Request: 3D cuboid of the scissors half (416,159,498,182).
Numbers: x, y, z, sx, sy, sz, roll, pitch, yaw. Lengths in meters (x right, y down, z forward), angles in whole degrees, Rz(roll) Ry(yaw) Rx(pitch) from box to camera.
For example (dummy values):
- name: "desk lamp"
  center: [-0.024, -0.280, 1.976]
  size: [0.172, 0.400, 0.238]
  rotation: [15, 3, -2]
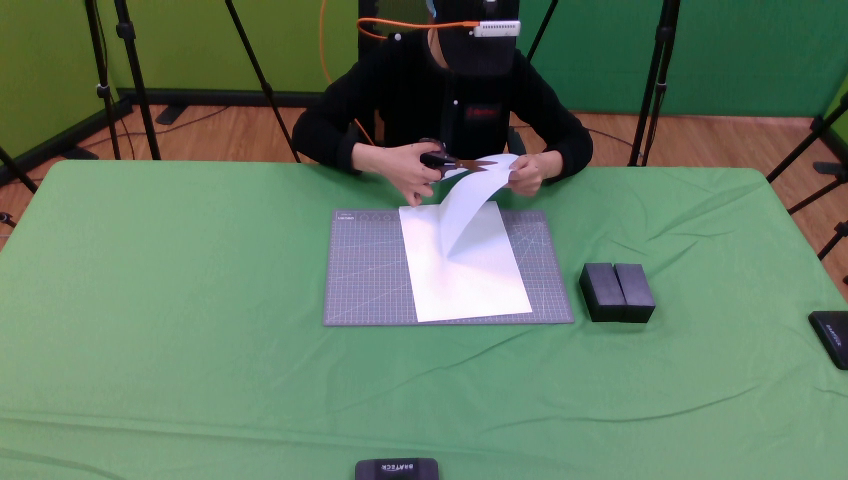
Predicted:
- name: "scissors half"
  center: [0.066, -0.145, 1.224]
  size: [0.175, 0.040, 0.013]
  rotation: [-8, 22, 23]

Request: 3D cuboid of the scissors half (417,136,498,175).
- name: "scissors half"
  center: [0.066, -0.166, 1.213]
  size: [0.175, 0.040, 0.013]
  rotation: [25, 35, 6]
